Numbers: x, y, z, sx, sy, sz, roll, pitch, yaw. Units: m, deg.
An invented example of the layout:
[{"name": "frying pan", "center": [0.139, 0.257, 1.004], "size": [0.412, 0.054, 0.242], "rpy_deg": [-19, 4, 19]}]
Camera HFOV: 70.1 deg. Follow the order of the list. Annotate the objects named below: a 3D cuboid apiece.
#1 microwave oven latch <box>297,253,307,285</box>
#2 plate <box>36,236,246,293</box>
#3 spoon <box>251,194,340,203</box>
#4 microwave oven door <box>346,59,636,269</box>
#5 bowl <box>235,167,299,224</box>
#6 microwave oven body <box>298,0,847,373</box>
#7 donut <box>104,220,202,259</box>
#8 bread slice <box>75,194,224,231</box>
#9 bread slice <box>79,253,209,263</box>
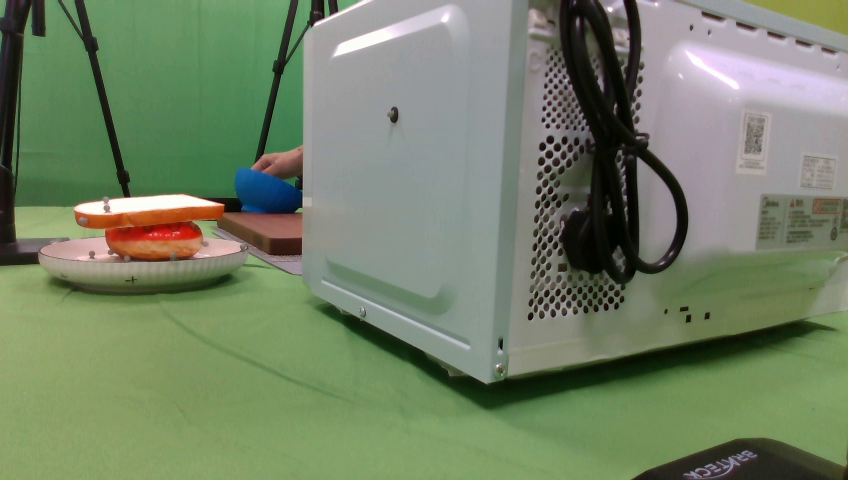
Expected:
[{"name": "microwave oven latch", "center": [-0.082, 0.027, 0.582], "size": [0.079, 0.029, 0.030], "rpy_deg": [-1, 7, -32]}, {"name": "plate", "center": [-0.305, 0.026, 0.669], "size": [0.208, 0.039, 0.207], "rpy_deg": [2, 7, 0]}, {"name": "spoon", "center": [-0.279, -0.094, 1.327], "size": [0.195, 0.021, 0.041], "rpy_deg": [-4, 6, -24]}, {"name": "microwave oven door", "center": [0.086, -0.089, 0.750], "size": [0.357, 0.243, 0.039], "rpy_deg": [1, 8, -10]}, {"name": "bowl", "center": [-0.333, -0.084, 1.264], "size": [0.151, 0.077, 0.151], "rpy_deg": [18, -13, 5]}, {"name": "microwave oven body", "center": [0.151, -0.055, 0.543], "size": [0.444, 0.260, 0.324], "rpy_deg": [-2, 7, -33]}, {"name": "donut", "center": [-0.298, -0.004, 0.669], "size": [0.099, 0.048, 0.099], "rpy_deg": [3, 1, 0]}, {"name": "bread slice", "center": [-0.302, -0.032, 0.659], "size": [0.106, 0.018, 0.135], "rpy_deg": [10, 17, 41]}, {"name": "bread slice", "center": [-0.302, 0.027, 0.662], "size": [0.132, 0.019, 0.104], "rpy_deg": [-4, 8, -45]}]
